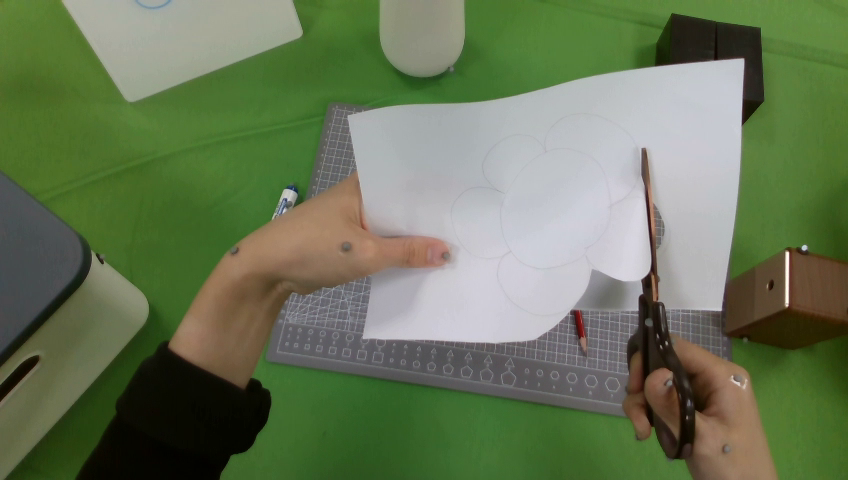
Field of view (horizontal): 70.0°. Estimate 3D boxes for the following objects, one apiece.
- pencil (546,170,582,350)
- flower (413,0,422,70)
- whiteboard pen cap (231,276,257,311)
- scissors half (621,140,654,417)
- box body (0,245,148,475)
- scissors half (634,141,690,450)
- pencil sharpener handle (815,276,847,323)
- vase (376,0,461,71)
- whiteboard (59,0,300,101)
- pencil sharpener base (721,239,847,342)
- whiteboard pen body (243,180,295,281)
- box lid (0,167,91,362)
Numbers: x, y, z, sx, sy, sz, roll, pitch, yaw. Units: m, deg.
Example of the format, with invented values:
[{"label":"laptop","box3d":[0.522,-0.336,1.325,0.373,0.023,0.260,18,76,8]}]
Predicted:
[{"label":"pencil","box3d":[0.145,0.017,0.625,0.012,0.012,0.192,-5,72,-2]},{"label":"flower","box3d":[-0.011,-0.311,0.556,0.044,0.365,0.038,1,51,3]},{"label":"whiteboard pen cap","box3d":[-0.177,0.052,0.600,0.018,0.018,0.033,14,65,5]},{"label":"scissors half","box3d":[0.129,0.028,0.359,0.013,0.039,0.176,-6,113,0]},{"label":"box body","box3d":[-0.468,0.031,0.528,0.362,0.161,0.253,34,73,11]},{"label":"scissors half","box3d":[0.130,0.032,0.338,0.013,0.040,0.175,-7,89,-5]},{"label":"pencil sharpener handle","box3d":[0.390,0.058,0.553,0.030,0.068,0.035,12,64,1]},{"label":"vase","box3d":[-0.007,-0.268,0.629,0.098,0.201,0.097,0,68,0]},{"label":"whiteboard","box3d":[-0.293,-0.343,0.627,0.217,0.308,0.142,-25,52,-9]},{"label":"pencil sharpener base","box3d":[0.340,0.051,0.565,0.077,0.107,0.061,12,69,0]},{"label":"whiteboard pen body","box3d":[-0.162,0.000,0.622,0.017,0.017,0.140,15,68,5]},{"label":"box lid","box3d":[-0.469,0.004,0.459,0.370,0.015,0.262,34,72,11]}]
